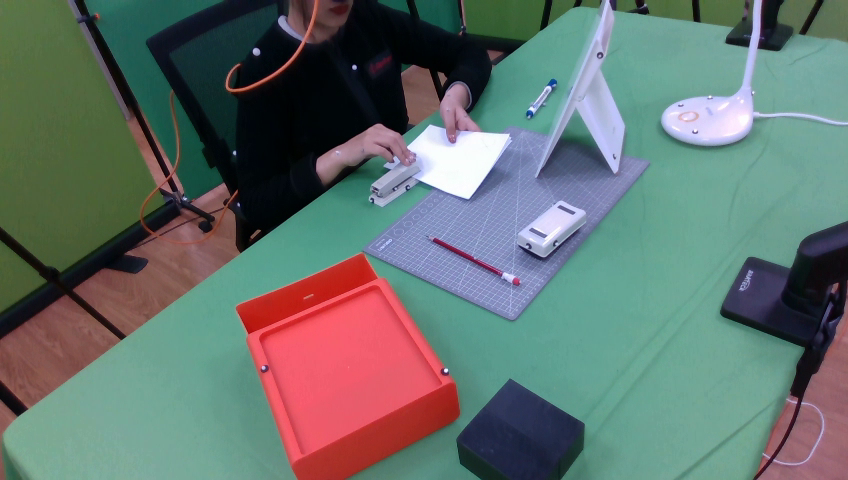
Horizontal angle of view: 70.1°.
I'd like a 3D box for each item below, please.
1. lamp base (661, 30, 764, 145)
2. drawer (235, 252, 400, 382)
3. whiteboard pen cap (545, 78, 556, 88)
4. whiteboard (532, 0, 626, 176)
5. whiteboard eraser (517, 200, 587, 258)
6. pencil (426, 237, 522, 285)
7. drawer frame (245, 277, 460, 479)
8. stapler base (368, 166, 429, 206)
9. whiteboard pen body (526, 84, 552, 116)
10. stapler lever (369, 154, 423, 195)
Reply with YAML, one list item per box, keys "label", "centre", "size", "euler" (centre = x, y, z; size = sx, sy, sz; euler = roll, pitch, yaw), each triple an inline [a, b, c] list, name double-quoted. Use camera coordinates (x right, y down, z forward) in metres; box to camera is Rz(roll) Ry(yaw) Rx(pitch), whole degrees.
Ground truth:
- label: "lamp base"
  centre: [0.535, -0.287, 1.096]
  size: [0.179, 0.181, 0.159]
  euler: [-10, 40, -4]
- label: "drawer"
  centre: [-0.125, 0.132, 0.804]
  size: [0.195, 0.073, 0.210]
  euler: [-23, 42, -17]
- label: "whiteboard pen cap"
  centre: [0.280, -0.344, 1.335]
  size: [0.018, 0.018, 0.033]
  euler: [15, 45, 25]
- label: "whiteboard"
  centre: [0.321, -0.258, 1.050]
  size: [0.144, 0.306, 0.217]
  euler: [21, 45, 5]
- label: "whiteboard eraser"
  centre: [0.200, -0.016, 0.943]
  size: [0.113, 0.042, 0.055]
  euler: [-37, 46, -29]
- label: "pencil"
  centre: [0.072, 0.029, 0.941]
  size: [0.192, 0.012, 0.012]
  euler: [26, 52, 37]
- label: "drawer frame"
  centre: [-0.093, 0.167, 0.755]
  size: [0.202, 0.083, 0.211]
  euler: [-23, 43, -17]
- label: "stapler base"
  centre: [-0.047, -0.110, 1.119]
  size: [0.041, 0.024, 0.131]
  euler: [26, 53, 38]
- label: "whiteboard pen body"
  centre: [0.251, -0.305, 1.297]
  size: [0.017, 0.017, 0.141]
  euler: [15, 45, 26]
- label: "stapler lever"
  centre: [-0.050, -0.122, 1.108]
  size: [0.026, 0.040, 0.118]
  euler: [26, 44, 38]
